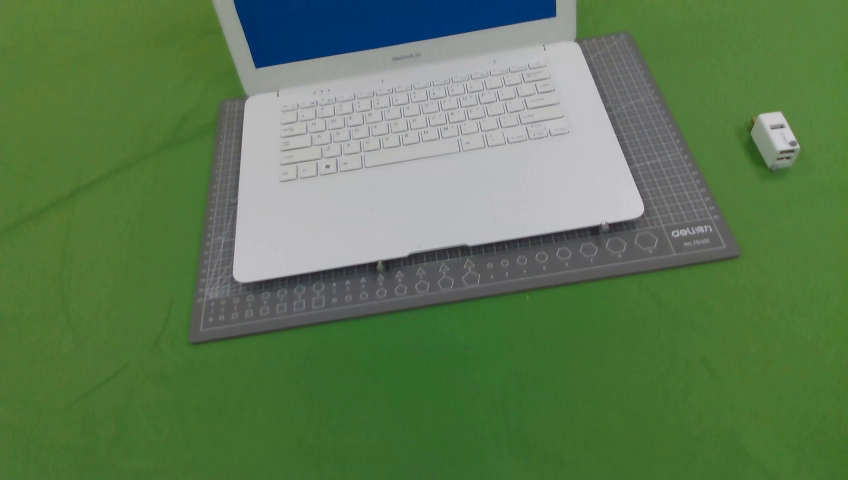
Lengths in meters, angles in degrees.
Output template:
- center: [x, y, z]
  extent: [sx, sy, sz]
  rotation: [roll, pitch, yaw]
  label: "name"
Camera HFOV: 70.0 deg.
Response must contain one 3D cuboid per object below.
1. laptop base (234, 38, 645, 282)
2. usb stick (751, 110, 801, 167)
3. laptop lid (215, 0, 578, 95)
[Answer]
- center: [0.000, -0.083, 0.576]
  extent: [0.354, 0.023, 0.233]
  rotation: [-9, 58, 2]
  label: "laptop base"
- center: [0.307, -0.095, 0.534]
  extent: [0.021, 0.027, 0.058]
  rotation: [-7, 51, 5]
  label: "usb stick"
- center: [-0.031, -0.271, 0.572]
  extent: [0.357, 0.244, 0.013]
  rotation: [-11, 37, 3]
  label: "laptop lid"
